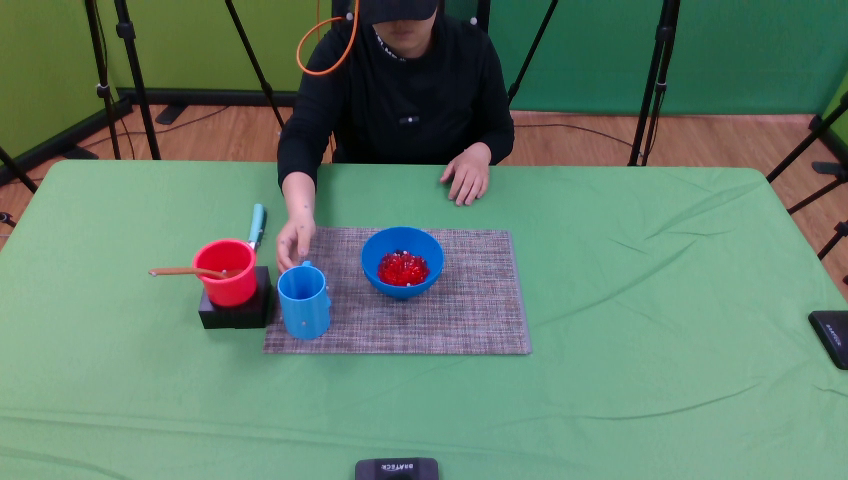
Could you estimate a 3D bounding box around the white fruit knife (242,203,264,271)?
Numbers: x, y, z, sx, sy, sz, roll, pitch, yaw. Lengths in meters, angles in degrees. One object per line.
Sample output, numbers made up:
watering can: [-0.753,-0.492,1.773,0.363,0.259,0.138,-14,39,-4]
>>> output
white fruit knife: [-0.334,0.001,1.178,0.027,0.016,0.206,-19,46,17]

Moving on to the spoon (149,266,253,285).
spoon: [-0.351,0.052,0.968,0.041,0.021,0.194,41,12,28]

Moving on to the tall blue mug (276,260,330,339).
tall blue mug: [-0.208,0.094,1.025,0.078,0.108,0.106,-21,51,-21]

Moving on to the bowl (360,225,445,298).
bowl: [-0.040,0.053,1.099,0.151,0.077,0.150,2,46,-2]
